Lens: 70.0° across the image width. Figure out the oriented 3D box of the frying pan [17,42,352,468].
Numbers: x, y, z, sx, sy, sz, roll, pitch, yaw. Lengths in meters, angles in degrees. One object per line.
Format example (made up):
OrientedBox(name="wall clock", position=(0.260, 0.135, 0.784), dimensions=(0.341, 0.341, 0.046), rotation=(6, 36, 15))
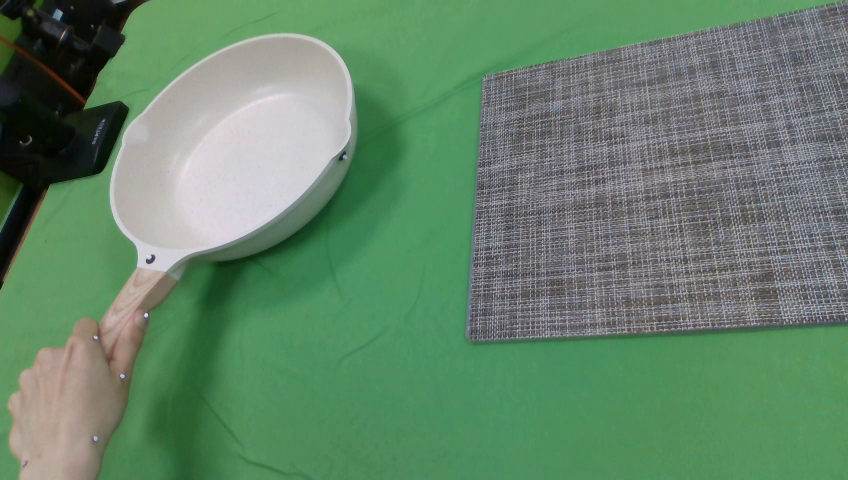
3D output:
OrientedBox(name="frying pan", position=(-0.241, -0.010, 0.614), dimensions=(0.305, 0.104, 0.485), rotation=(7, 54, 26))
